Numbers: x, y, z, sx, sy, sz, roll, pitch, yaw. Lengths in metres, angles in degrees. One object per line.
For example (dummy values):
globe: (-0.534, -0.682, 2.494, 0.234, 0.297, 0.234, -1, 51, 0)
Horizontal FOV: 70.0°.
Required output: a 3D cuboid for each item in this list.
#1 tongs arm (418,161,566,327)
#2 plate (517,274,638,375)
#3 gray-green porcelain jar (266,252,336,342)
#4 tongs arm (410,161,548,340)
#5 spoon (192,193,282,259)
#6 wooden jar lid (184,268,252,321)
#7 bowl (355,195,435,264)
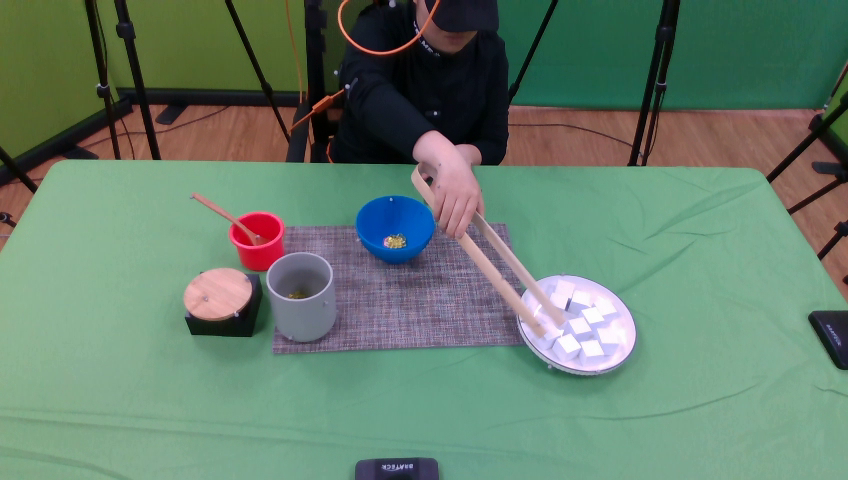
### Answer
tongs arm: (0.118, 0.001, 1.088, 0.028, 0.028, 0.386, -26, 70, -41)
plate: (0.264, 0.149, 1.060, 0.209, 0.038, 0.208, 3, 46, -3)
gray-green porcelain jar: (-0.202, 0.100, 1.009, 0.106, 0.127, 0.105, 2, 46, -2)
tongs arm: (0.093, 0.010, 1.061, 0.051, 0.026, 0.383, -25, 69, -44)
spoon: (-0.342, -0.027, 1.115, 0.194, 0.021, 0.041, 43, 41, -25)
wooden jar lid: (-0.343, 0.092, 1.015, 0.108, 0.021, 0.107, 3, 46, -3)
bowl: (-0.056, -0.008, 1.158, 0.151, 0.077, 0.150, 2, 46, -2)
